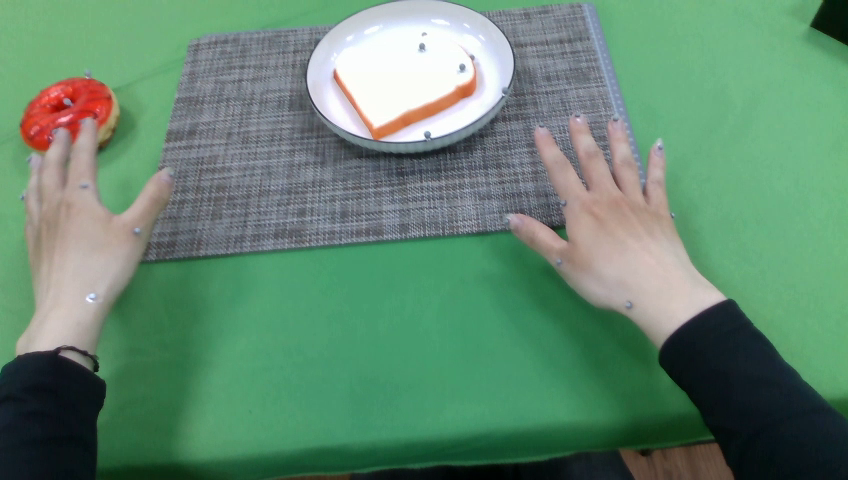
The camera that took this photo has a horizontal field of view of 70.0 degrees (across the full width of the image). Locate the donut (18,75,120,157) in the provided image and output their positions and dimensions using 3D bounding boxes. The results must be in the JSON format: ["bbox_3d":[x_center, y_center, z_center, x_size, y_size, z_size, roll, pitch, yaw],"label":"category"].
[{"bbox_3d":[-0.361,-0.127,0.617,0.099,0.049,0.098,-3,57,5],"label":"donut"}]

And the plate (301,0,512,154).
[{"bbox_3d":[-0.017,-0.162,0.611,0.207,0.039,0.205,-2,57,3],"label":"plate"}]

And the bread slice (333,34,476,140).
[{"bbox_3d":[-0.016,-0.164,0.614,0.131,0.019,0.104,-27,60,-12],"label":"bread slice"}]
